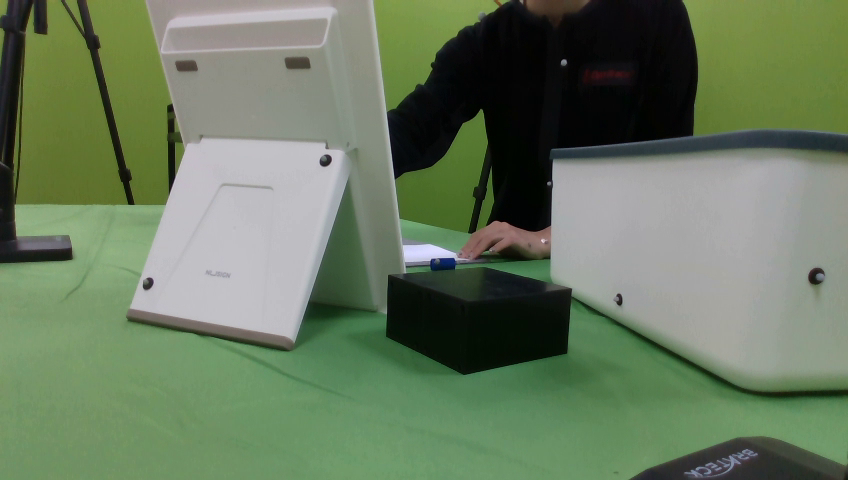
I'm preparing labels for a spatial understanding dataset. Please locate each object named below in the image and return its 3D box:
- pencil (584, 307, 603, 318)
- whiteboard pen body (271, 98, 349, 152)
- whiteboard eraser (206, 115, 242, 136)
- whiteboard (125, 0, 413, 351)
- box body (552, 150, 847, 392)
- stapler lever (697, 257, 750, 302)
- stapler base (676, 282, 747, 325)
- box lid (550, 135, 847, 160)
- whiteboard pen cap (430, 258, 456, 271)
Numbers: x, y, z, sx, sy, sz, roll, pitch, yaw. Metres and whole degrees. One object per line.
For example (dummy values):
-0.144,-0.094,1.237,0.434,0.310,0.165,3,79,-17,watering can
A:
0.250,0.055,0.656,0.195,0.012,0.012,-13,14,-26,pencil
-0.109,-0.112,0.586,0.017,0.017,0.141,5,30,20,whiteboard pen body
-0.438,-0.249,1.320,0.056,0.042,0.112,-3,9,-30,whiteboard eraser
-0.151,-0.050,0.471,0.216,0.305,0.144,6,27,24,whiteboard
0.290,0.002,0.549,0.255,0.160,0.363,2,7,-10,box body
0.290,0.035,0.580,0.026,0.040,0.119,30,19,34,stapler lever
0.283,0.057,0.585,0.041,0.024,0.131,30,18,34,stapler base
0.294,-0.071,0.538,0.264,0.015,0.370,2,6,-10,box lid
0.024,0.031,0.791,0.033,0.018,0.018,1,8,-12,whiteboard pen cap
